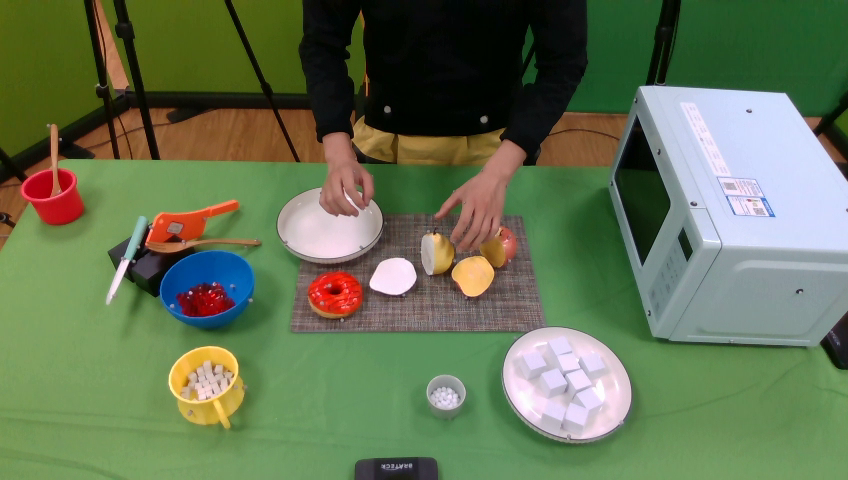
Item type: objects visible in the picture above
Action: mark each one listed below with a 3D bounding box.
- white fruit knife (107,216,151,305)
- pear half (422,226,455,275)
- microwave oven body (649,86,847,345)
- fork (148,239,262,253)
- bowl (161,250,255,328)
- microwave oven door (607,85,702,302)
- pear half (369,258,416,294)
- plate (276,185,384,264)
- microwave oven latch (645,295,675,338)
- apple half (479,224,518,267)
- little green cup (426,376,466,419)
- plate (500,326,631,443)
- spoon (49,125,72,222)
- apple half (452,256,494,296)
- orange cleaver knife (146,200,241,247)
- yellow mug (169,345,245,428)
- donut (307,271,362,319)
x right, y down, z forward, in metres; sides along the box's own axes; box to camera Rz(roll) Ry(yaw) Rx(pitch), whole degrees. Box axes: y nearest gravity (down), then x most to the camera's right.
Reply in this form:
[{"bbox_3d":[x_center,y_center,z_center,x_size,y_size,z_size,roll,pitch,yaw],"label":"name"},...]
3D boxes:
[{"bbox_3d":[-0.518,0.032,1.066,0.027,0.016,0.206,-18,45,19],"label":"white fruit knife"},{"bbox_3d":[0.030,0.012,1.122,0.056,0.110,0.076,-17,52,-19],"label":"pear half"},{"bbox_3d":[0.568,-0.053,1.118,0.326,0.261,0.439,2,45,-1],"label":"microwave oven body"},{"bbox_3d":[-0.398,0.008,1.117,0.208,0.019,0.028,-5,34,-37],"label":"fork"},{"bbox_3d":[-0.362,0.097,1.040,0.151,0.077,0.150,2,45,-2],"label":"bowl"},{"bbox_3d":[0.423,-0.094,1.140,0.039,0.245,0.353,2,46,-1],"label":"microwave oven door"},{"bbox_3d":[-0.058,0.072,1.113,0.088,0.031,0.070,-22,61,-13],"label":"pear half"},{"bbox_3d":[-0.184,-0.027,1.195,0.209,0.038,0.208,2,46,-2],"label":"plate"},{"bbox_3d":[0.412,0.134,1.061,0.030,0.029,0.078,3,45,0],"label":"microwave oven latch"},{"bbox_3d":[0.148,0.008,1.160,0.053,0.075,0.080,-24,48,-30],"label":"apple half"},{"bbox_3d":[0.033,0.248,0.950,0.061,0.039,0.061,2,46,-2],"label":"little green cup"},{"bbox_3d":[0.224,0.233,0.978,0.208,0.039,0.206,2,46,-2],"label":"plate"},{"bbox_3d":[-0.717,-0.131,1.189,0.042,0.021,0.193,-3,90,-7],"label":"spoon"},{"bbox_3d":[0.095,0.070,1.120,0.081,0.033,0.081,-7,63,14],"label":"apple half"},{"bbox_3d":[-0.435,-0.033,1.157,0.012,0.077,0.211,31,26,19],"label":"orange cleaver knife"},{"bbox_3d":[-0.322,0.230,0.922,0.100,0.064,0.130,-24,53,-25],"label":"yellow mug"},{"bbox_3d":[-0.157,0.097,1.073,0.099,0.048,0.098,4,45,-4],"label":"donut"}]
